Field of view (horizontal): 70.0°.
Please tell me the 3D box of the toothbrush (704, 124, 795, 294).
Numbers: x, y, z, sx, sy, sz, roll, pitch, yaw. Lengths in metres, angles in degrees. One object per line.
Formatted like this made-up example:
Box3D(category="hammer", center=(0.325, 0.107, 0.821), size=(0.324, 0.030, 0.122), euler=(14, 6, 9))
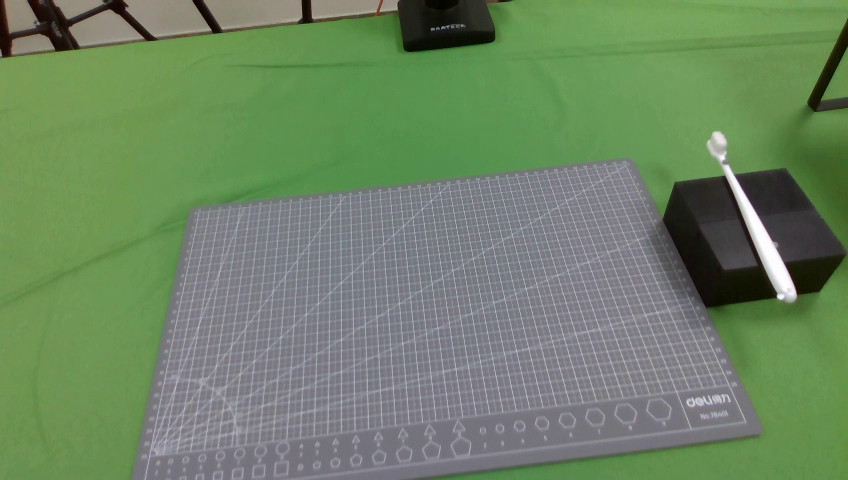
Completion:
Box3D(category="toothbrush", center=(0.263, -0.032, 0.494), size=(0.014, 0.017, 0.180), euler=(0, 50, -1))
